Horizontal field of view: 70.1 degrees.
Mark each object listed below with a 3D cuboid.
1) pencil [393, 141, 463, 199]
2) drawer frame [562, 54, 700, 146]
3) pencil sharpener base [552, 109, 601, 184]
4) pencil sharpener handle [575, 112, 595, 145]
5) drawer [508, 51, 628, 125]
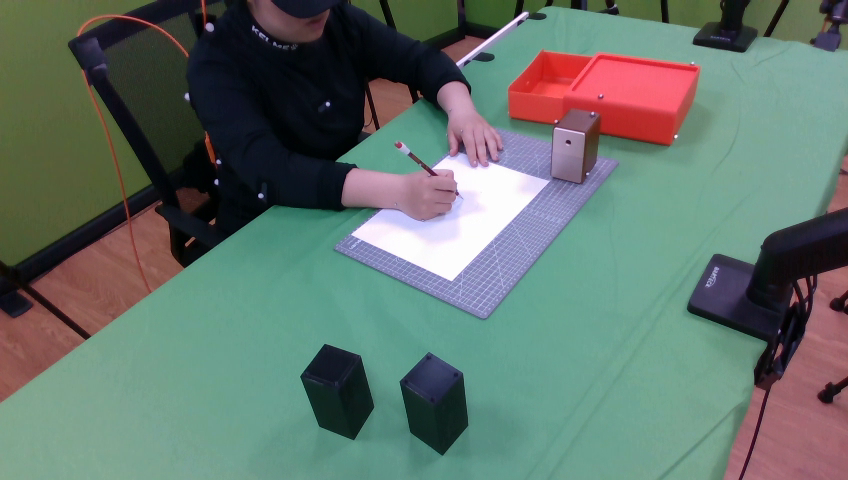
[{"bbox_3d":[0.012,-0.109,0.982,0.012,0.196,0.012,-18,58,30],"label":"pencil"},{"bbox_3d":[0.407,-0.282,1.195,0.212,0.083,0.202,17,45,25],"label":"drawer frame"},{"bbox_3d":[0.265,-0.163,1.053,0.061,0.107,0.077,17,46,28],"label":"pencil sharpener base"},{"bbox_3d":[0.290,-0.203,1.077,0.036,0.068,0.031,19,47,25],"label":"pencil sharpener handle"},{"bbox_3d":[0.305,-0.309,1.246,0.210,0.073,0.195,16,45,25],"label":"drawer"}]
